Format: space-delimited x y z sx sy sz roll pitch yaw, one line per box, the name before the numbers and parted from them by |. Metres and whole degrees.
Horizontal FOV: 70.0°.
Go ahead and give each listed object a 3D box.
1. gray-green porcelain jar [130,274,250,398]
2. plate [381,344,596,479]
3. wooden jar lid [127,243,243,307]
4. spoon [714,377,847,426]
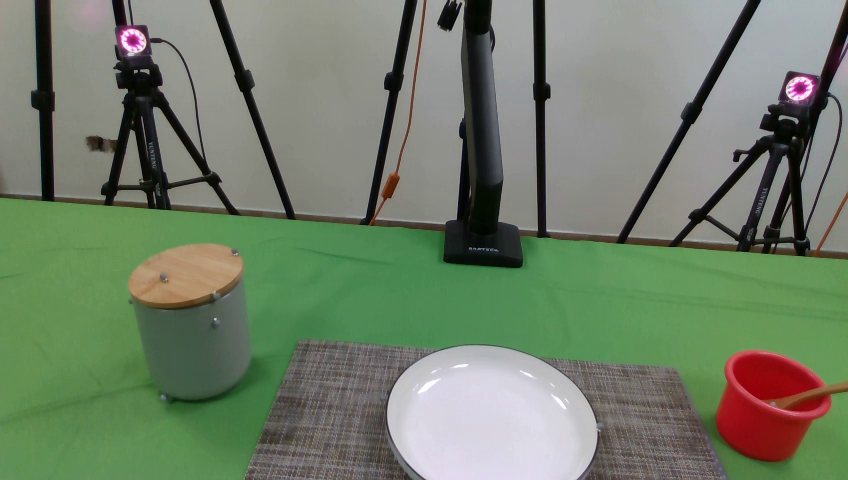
gray-green porcelain jar | -0.241 0.093 0.639 0.106 0.127 0.105 3 30 -1
plate | 0.061 0.183 0.598 0.208 0.039 0.206 3 30 -1
wooden jar lid | -0.237 0.037 0.607 0.108 0.021 0.107 1 31 0
spoon | 0.383 0.150 0.592 0.193 0.022 0.041 -32 8 37
